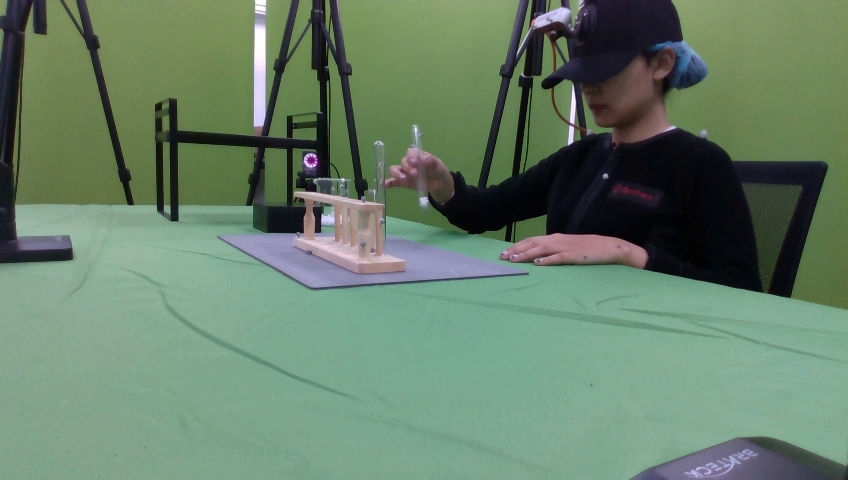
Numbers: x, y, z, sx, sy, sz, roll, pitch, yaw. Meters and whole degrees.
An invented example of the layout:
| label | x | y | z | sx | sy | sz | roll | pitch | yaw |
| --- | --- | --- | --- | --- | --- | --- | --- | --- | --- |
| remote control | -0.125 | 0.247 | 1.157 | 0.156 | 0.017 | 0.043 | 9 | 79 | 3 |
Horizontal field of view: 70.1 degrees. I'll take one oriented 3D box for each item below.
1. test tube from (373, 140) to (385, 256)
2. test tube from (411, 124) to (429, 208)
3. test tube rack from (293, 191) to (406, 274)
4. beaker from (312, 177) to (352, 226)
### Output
| label | x | y | z | sx | sy | sz | roll | pitch | yaw |
| --- | --- | --- | --- | --- | --- | --- | --- | --- | --- |
| test tube | -0.058 | -0.053 | 0.781 | 0.017 | 0.150 | 0.017 | 0 | 5 | 0 |
| test tube | -0.007 | -0.127 | 1.035 | 0.017 | 0.150 | 0.017 | -6 | -13 | -1 |
| test tube rack | -0.110 | -0.017 | 0.836 | 0.067 | 0.085 | 0.241 | -2 | 9 | -30 |
| beaker | -0.194 | -0.081 | 1.266 | 0.084 | 0.100 | 0.073 | -3 | 9 | -29 |
